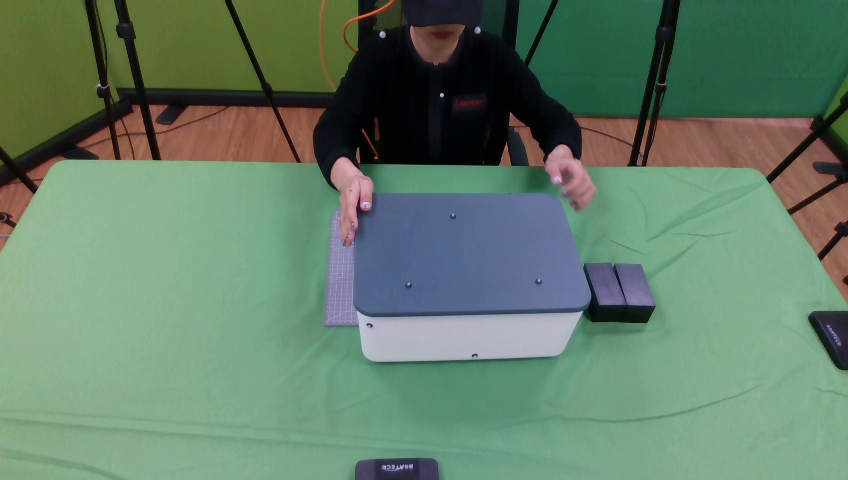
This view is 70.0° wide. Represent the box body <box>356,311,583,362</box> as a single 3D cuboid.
[{"bbox_3d":[0.065,0.066,1.040,0.364,0.161,0.252,-1,46,-5],"label":"box body"}]

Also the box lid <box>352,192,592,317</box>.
[{"bbox_3d":[0.071,0.014,0.986,0.372,0.015,0.261,-1,47,-5],"label":"box lid"}]
